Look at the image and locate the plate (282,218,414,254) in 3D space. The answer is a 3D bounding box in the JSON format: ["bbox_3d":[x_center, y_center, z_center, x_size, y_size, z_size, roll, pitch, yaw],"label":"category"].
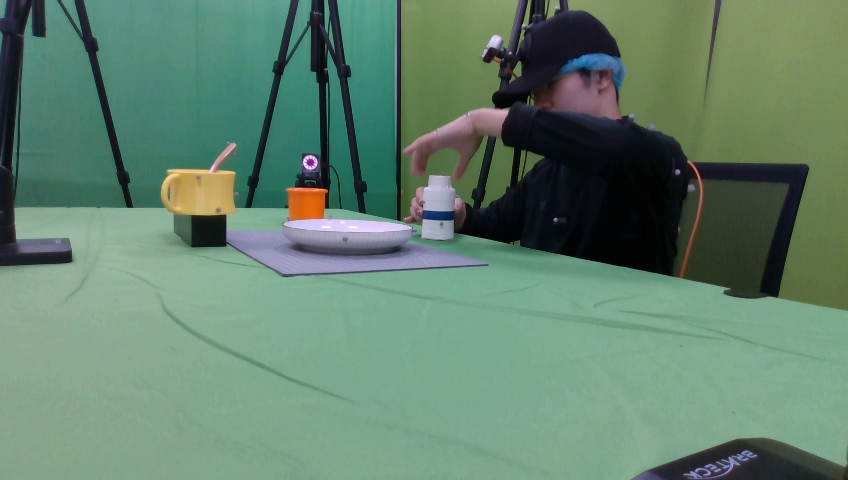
[{"bbox_3d":[-0.121,-0.007,0.971,0.208,0.039,0.207,2,7,0],"label":"plate"}]

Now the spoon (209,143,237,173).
[{"bbox_3d":[-0.341,-0.113,0.990,0.041,0.021,0.193,1,39,6],"label":"spoon"}]

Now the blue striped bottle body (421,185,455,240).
[{"bbox_3d":[0.027,-0.063,1.157,0.063,0.120,0.063,2,7,0],"label":"blue striped bottle body"}]

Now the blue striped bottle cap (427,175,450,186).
[{"bbox_3d":[0.028,-0.113,1.151,0.044,0.020,0.044,4,6,0],"label":"blue striped bottle cap"}]

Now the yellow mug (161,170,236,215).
[{"bbox_3d":[-0.353,-0.074,0.935,0.099,0.064,0.131,5,9,21],"label":"yellow mug"}]
